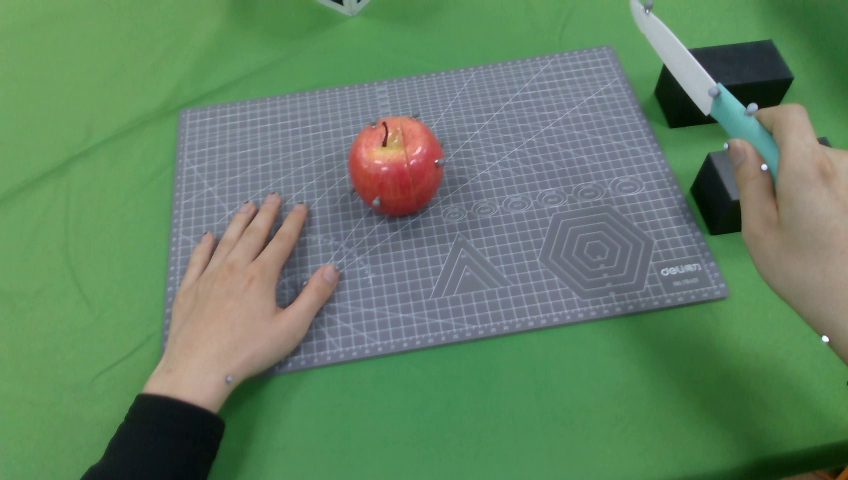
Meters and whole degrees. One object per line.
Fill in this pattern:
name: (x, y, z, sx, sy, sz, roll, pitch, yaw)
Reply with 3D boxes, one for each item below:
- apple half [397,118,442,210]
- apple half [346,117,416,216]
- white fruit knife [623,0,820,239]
apple half: (-0.001, -0.066, 0.518, 0.033, 0.082, 0.080, -13, 57, 2)
apple half: (-0.039, -0.058, 0.517, 0.053, 0.075, 0.080, -12, 62, 1)
white fruit knife: (0.196, -0.091, 0.412, 0.016, 0.027, 0.206, -22, 70, -25)
